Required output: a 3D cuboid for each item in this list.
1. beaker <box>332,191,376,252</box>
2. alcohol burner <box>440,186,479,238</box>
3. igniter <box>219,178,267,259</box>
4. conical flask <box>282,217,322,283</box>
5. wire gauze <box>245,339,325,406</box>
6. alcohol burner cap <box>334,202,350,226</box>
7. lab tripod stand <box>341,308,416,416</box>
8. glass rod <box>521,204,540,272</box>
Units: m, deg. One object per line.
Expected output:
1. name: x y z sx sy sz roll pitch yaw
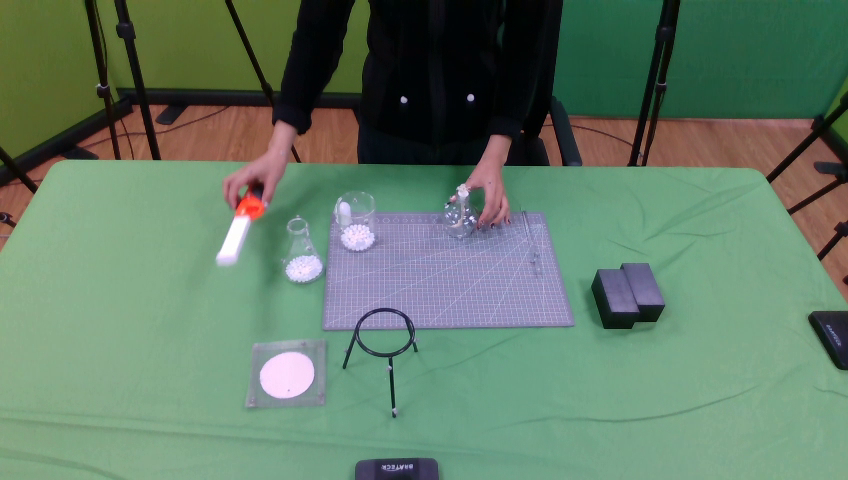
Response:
1. beaker: -0.133 -0.032 1.163 0.084 0.101 0.073 -18 50 -20
2. alcohol burner: 0.072 -0.062 1.198 0.078 0.119 0.077 4 47 -4
3. igniter: -0.327 -0.047 1.106 0.057 0.025 0.275 -3 31 -2
4. conical flask: -0.225 0.016 1.097 0.075 0.122 0.075 2 46 -2
5. wire gauze: -0.224 0.214 0.984 0.125 0.011 0.120 -2 46 -5
6. alcohol burner cap: -0.166 -0.055 1.222 0.034 0.048 0.033 2 46 -2
7. lab tripod stand: -0.061 0.177 0.946 0.148 0.132 0.147 2 44 -2
8. glass rod: 0.215 -0.008 1.230 0.008 0.008 0.198 0 43 -3
